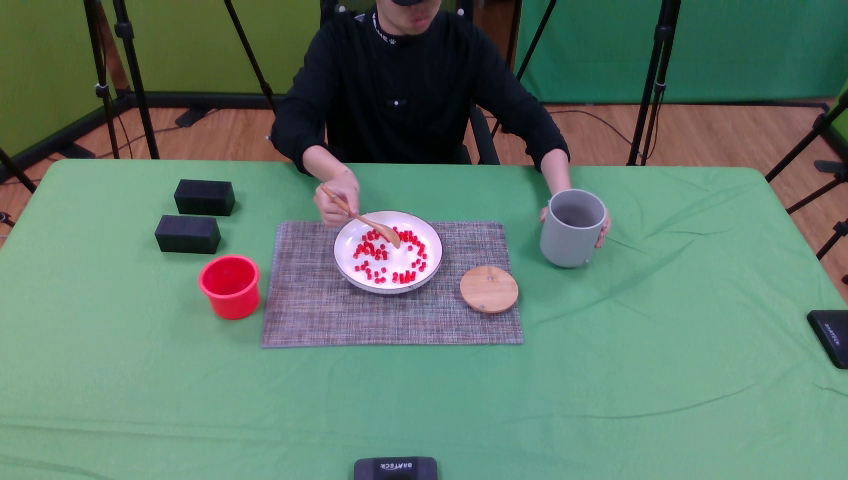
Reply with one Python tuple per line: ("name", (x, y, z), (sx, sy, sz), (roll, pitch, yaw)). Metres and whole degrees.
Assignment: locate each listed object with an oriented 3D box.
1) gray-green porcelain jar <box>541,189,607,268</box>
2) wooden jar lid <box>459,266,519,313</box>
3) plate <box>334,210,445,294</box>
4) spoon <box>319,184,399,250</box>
("gray-green porcelain jar", (0.281, -0.017, 1.157), (0.106, 0.127, 0.105), (1, 50, 0))
("wooden jar lid", (0.118, 0.093, 1.111), (0.108, 0.021, 0.107), (2, 47, -1))
("plate", (-0.066, 0.026, 1.150), (0.208, 0.039, 0.206), (2, 46, -2))
("spoon", (-0.115, -0.042, 1.107), (0.194, 0.021, 0.041), (34, 29, -25))
